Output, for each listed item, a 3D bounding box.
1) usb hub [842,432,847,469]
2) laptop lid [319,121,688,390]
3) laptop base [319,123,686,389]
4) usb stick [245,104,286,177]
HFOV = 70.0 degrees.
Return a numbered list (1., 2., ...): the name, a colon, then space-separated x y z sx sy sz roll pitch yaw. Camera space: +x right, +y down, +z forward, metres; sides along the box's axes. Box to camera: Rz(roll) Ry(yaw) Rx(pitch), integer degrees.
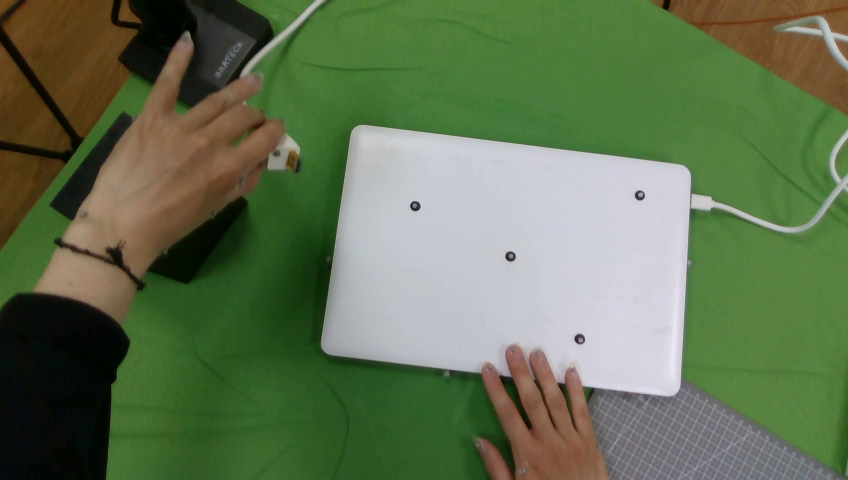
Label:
1. usb hub: 0.454 0.172 0.600 0.049 0.025 0.124 16 80 1
2. laptop lid: 0.084 0.013 0.602 0.357 0.013 0.241 8 82 -1
3. laptop base: 0.084 0.013 0.616 0.354 0.023 0.235 7 83 -1
4. usb stick: -0.124 -0.078 0.481 0.021 0.027 0.058 -16 62 -10
